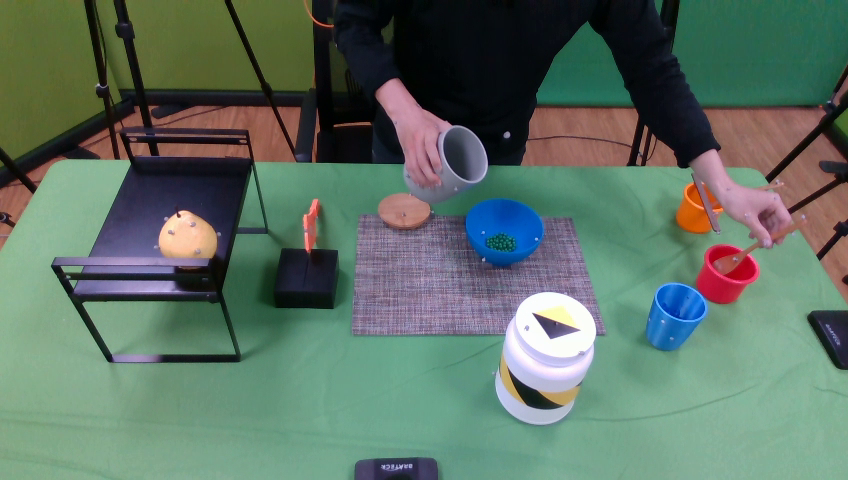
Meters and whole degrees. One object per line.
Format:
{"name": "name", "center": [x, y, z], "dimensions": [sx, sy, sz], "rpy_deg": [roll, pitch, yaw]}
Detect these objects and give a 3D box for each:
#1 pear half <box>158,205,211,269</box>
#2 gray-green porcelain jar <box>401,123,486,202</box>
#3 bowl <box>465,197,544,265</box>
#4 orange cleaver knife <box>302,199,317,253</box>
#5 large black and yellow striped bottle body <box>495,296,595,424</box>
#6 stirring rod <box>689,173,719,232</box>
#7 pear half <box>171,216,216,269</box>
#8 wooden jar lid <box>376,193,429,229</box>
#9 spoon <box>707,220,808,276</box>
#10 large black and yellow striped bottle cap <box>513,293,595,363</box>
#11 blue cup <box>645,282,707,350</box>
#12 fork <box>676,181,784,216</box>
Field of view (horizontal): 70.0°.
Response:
{"name": "pear half", "center": [-0.352, -0.015, 0.872], "dimensions": [0.056, 0.110, 0.076], "rpy_deg": [25, 46, 19]}
{"name": "gray-green porcelain jar", "center": [0.030, -0.129, 1.060], "dimensions": [0.106, 0.126, 0.105], "rpy_deg": [15, 65, -33]}
{"name": "bowl", "center": [0.149, -0.004, 1.167], "dimensions": [0.151, 0.077, 0.150], "rpy_deg": [2, 46, -2]}
{"name": "orange cleaver knife", "center": [-0.219, -0.031, 1.168], "dimensions": [0.012, 0.077, 0.210], "rpy_deg": [-5, 17, -3]}
{"name": "large black and yellow striped bottle body", "center": [0.183, 0.182, 0.923], "dimensions": [0.131, 0.185, 0.130], "rpy_deg": [2, 46, -2]}
{"name": "stirring rod", "center": [0.566, -0.079, 1.225], "dimensions": [0.014, 0.006, 0.175], "rpy_deg": [2, 46, 2]}
{"name": "pear half", "center": [-0.323, 0.007, 0.866], "dimensions": [0.031, 0.088, 0.070], "rpy_deg": [25, 46, 20]}
{"name": "wooden jar lid", "center": [-0.044, -0.059, 1.246], "dimensions": [0.108, 0.021, 0.107], "rpy_deg": [3, 40, -2]}
{"name": "spoon", "center": [0.586, 0.014, 1.074], "dimensions": [0.022, 0.194, 0.041], "rpy_deg": [30, 51, -10]}
{"name": "large black and yellow striped bottle cap", "center": [0.186, 0.123, 0.863], "dimensions": [0.115, 0.019, 0.114], "rpy_deg": [3, 45, -3]}
{"name": "blue cup", "center": [0.425, 0.136, 1.042], "dimensions": [0.093, 0.101, 0.092], "rpy_deg": [1, 45, -1]}
{"name": "fork", "center": [0.618, -0.084, 1.235], "dimensions": [0.207, 0.019, 0.028], "rpy_deg": [-23, 20, 38]}
